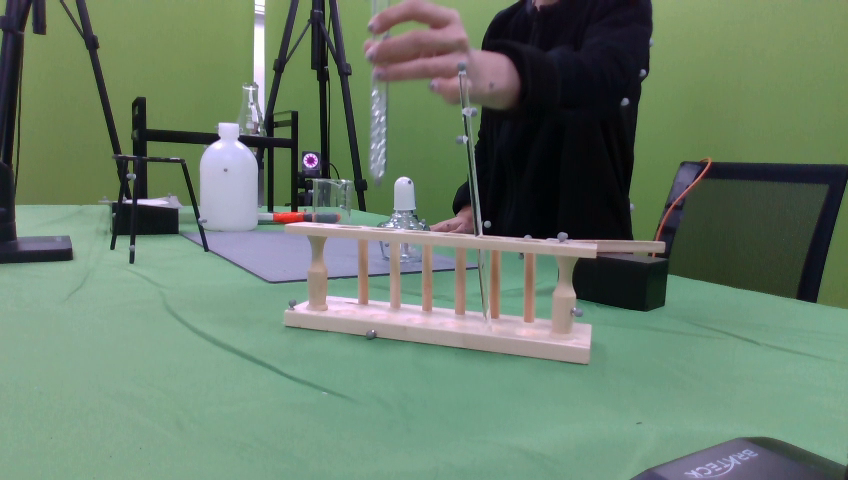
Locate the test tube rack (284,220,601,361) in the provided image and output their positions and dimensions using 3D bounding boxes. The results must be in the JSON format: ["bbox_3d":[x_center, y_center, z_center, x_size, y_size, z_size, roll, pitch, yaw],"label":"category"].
[{"bbox_3d":[0.013,0.032,0.482,0.242,0.085,0.067,4,7,16],"label":"test tube rack"}]

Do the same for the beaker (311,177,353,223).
[{"bbox_3d":[-0.167,-0.064,1.106,0.074,0.100,0.083,-2,9,-26],"label":"beaker"}]

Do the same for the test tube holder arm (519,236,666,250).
[{"bbox_3d":[0.186,0.003,0.655,0.179,0.015,0.013,0,15,-19],"label":"test tube holder arm"}]

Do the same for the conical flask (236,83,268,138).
[{"bbox_3d":[-0.399,-0.298,1.396,0.075,0.122,0.075,2,8,0],"label":"conical flask"}]

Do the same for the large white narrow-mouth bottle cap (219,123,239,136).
[{"bbox_3d":[-0.356,-0.201,1.105,0.038,0.024,0.037,2,8,0],"label":"large white narrow-mouth bottle cap"}]

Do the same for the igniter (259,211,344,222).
[{"bbox_3d":[-0.302,-0.048,1.249,0.278,0.025,0.057,-2,-2,-27],"label":"igniter"}]

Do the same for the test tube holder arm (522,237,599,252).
[{"bbox_3d":[0.144,0.005,0.636,0.088,0.015,0.010,0,15,-19],"label":"test tube holder arm"}]

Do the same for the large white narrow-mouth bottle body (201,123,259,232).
[{"bbox_3d":[-0.358,-0.116,1.116,0.102,0.194,0.102,2,8,0],"label":"large white narrow-mouth bottle body"}]

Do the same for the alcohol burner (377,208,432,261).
[{"bbox_3d":[-0.027,-0.031,0.838,0.078,0.119,0.078,0,6,0],"label":"alcohol burner"}]

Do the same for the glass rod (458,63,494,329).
[{"bbox_3d":[0.039,-0.029,0.449,0.008,0.199,0.008,-7,9,1],"label":"glass rod"}]

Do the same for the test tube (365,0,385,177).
[{"bbox_3d":[-0.040,-0.128,0.499,0.017,0.150,0.017,1,8,0],"label":"test tube"}]

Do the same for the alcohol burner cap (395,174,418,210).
[{"bbox_3d":[-0.026,-0.067,0.833,0.034,0.048,0.034,-2,12,1],"label":"alcohol burner cap"}]

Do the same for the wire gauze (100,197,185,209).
[{"bbox_3d":[-0.469,-0.062,1.008,0.126,0.011,0.121,-2,8,-25],"label":"wire gauze"}]

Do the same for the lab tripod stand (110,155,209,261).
[{"bbox_3d":[-0.361,-0.046,0.806,0.148,0.131,0.148,2,5,0],"label":"lab tripod stand"}]
